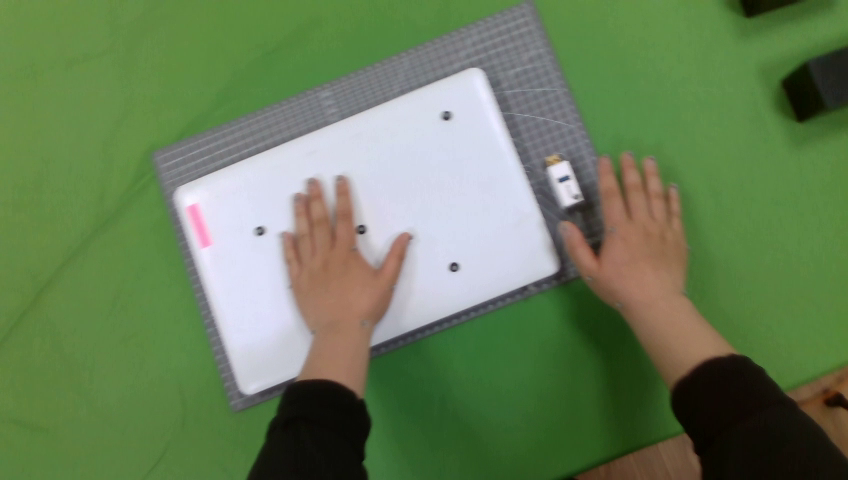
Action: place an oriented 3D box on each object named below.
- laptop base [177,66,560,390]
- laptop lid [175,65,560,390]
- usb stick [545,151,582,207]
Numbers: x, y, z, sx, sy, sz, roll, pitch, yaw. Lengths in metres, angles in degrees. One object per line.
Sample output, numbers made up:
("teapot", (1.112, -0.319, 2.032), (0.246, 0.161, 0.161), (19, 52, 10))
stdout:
("laptop base", (-0.063, -0.014, 0.639), (0.354, 0.023, 0.235), (-22, 86, 2))
("laptop lid", (-0.064, -0.013, 0.628), (0.357, 0.013, 0.241), (-21, 85, 3))
("usb stick", (0.140, -0.065, 0.620), (0.021, 0.027, 0.059), (-22, 78, 4))
